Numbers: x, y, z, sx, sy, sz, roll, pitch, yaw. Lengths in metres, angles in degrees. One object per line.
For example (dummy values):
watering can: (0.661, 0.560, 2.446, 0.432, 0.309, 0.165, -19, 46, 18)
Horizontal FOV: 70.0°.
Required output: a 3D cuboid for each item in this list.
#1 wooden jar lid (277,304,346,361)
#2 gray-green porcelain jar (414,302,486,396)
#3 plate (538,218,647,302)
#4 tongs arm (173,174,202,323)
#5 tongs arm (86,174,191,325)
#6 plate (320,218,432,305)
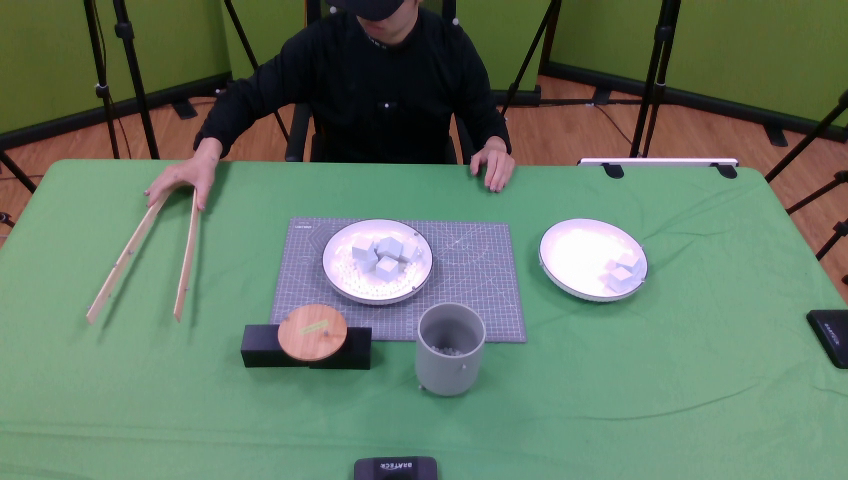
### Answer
wooden jar lid: (-0.179, 0.150, 0.972, 0.108, 0.021, 0.107, 2, 45, -2)
gray-green porcelain jar: (0.038, 0.177, 0.958, 0.106, 0.127, 0.105, 2, 46, -2)
plate: (0.322, 0.042, 1.171, 0.208, 0.039, 0.206, 2, 46, -2)
tongs arm: (-0.443, 0.001, 1.135, 0.028, 0.028, 0.385, -10, 44, -4)
tongs arm: (-0.521, 0.002, 1.132, 0.051, 0.026, 0.382, 1, 43, 3)
plate: (-0.089, 0.044, 1.134, 0.209, 0.038, 0.208, 3, 46, -2)
